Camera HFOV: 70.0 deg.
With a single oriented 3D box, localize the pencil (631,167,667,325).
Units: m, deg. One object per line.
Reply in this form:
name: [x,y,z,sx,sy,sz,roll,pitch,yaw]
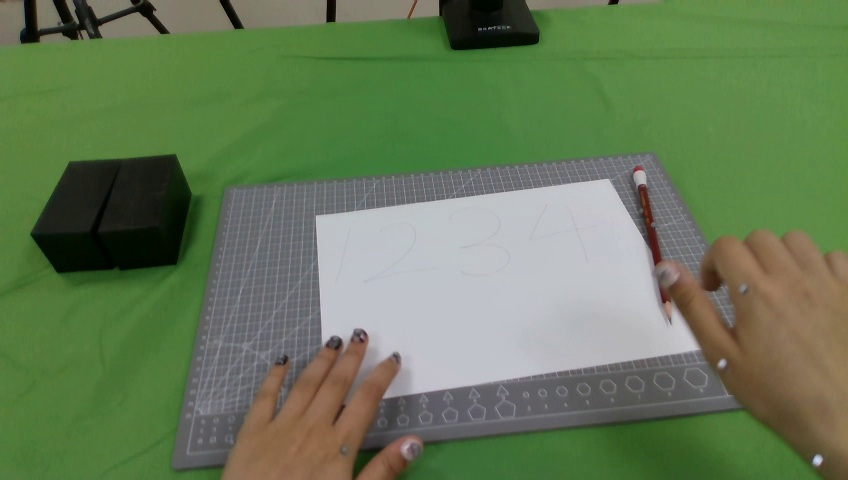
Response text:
pencil: [0.206,-0.001,0.555,0.012,0.012,0.192,4,47,5]
